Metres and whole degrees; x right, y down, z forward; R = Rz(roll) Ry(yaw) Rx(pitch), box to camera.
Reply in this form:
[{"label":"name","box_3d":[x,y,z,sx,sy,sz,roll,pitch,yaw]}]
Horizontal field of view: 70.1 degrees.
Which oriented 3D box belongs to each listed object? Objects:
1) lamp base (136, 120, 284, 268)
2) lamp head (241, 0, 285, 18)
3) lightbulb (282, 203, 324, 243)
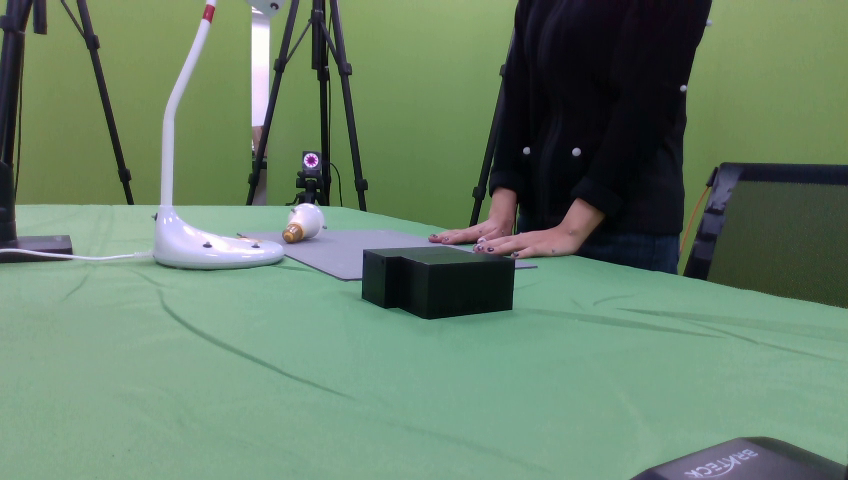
[{"label":"lamp base","box_3d":[-0.272,-0.061,0.769,0.180,0.180,0.160,-7,11,-37]},{"label":"lamp head","box_3d":[-0.233,-0.366,0.790,0.123,0.112,0.112,15,-1,-33]},{"label":"lightbulb","box_3d":[-0.202,-0.023,0.993,0.059,0.059,0.108,3,23,12]}]
